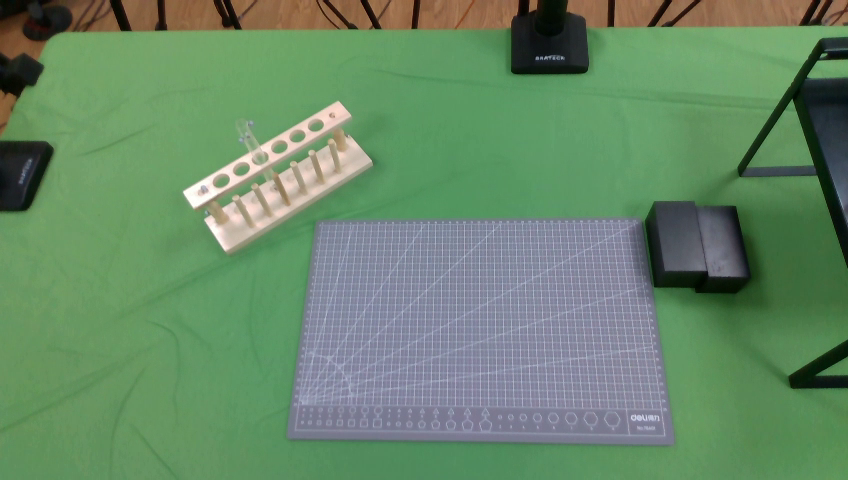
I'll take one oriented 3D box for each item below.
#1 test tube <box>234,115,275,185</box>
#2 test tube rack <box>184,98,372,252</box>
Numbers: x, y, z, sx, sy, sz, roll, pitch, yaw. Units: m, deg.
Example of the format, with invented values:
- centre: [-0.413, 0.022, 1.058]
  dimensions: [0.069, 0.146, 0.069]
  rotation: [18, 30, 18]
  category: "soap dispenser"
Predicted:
- centre: [-0.219, -0.114, 0.800]
  dimensions: [0.017, 0.151, 0.017]
  rotation: [-1, 66, 2]
  category: "test tube"
- centre: [-0.196, -0.091, 0.843]
  dimensions: [0.242, 0.086, 0.066]
  rotation: [-34, 65, -13]
  category: "test tube rack"
